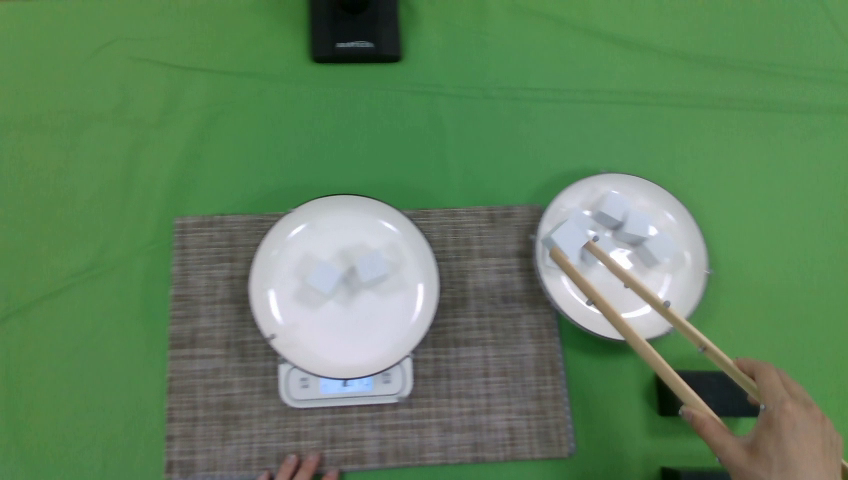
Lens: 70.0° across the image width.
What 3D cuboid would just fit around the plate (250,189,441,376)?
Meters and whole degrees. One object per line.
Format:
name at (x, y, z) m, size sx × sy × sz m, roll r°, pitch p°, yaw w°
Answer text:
plate at (-0.086, 0.046, 0.676) m, size 0.209 × 0.038 × 0.208 m, roll 1°, pitch 76°, yaw -4°

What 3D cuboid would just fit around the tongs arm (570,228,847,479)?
tongs arm at (0.266, 0.127, 0.562) m, size 0.051 × 0.027 × 0.381 m, roll -38°, pitch 65°, yaw -18°

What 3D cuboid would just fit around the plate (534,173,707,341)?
plate at (0.234, 0.021, 0.737) m, size 0.208 × 0.039 × 0.206 m, roll 1°, pitch 75°, yaw -3°

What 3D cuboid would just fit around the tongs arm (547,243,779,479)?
tongs arm at (0.247, 0.139, 0.556) m, size 0.028 × 0.028 × 0.384 m, roll -32°, pitch 64°, yaw -19°

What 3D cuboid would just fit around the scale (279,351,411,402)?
scale at (-0.091, 0.083, 0.700) m, size 0.149 × 0.031 × 0.200 m, roll -1°, pitch 76°, yaw -4°
